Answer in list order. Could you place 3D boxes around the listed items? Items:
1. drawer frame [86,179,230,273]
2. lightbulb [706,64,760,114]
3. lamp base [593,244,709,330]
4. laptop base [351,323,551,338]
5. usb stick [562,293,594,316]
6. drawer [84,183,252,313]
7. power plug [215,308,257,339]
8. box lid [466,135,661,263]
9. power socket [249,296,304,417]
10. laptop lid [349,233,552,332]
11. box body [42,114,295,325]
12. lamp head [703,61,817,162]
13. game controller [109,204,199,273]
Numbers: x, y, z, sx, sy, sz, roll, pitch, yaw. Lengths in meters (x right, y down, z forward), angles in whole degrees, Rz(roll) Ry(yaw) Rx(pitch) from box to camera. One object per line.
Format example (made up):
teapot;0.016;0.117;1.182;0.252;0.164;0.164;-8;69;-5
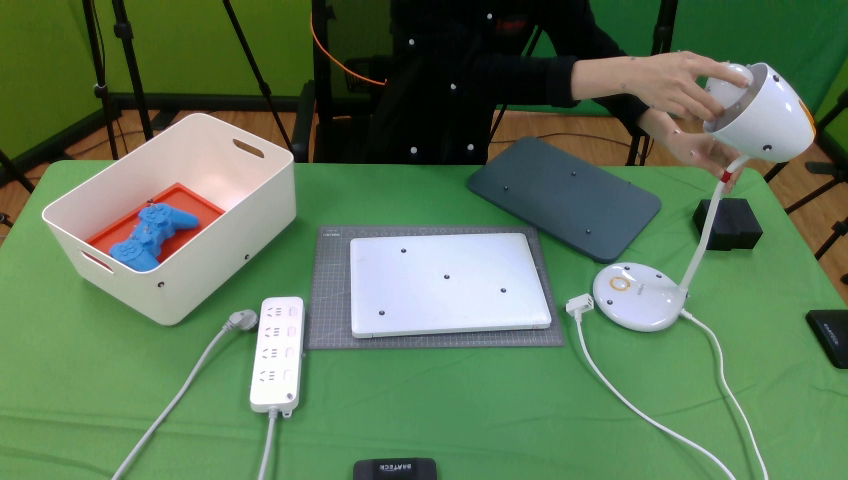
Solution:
drawer frame;-0.453;0.010;1.100;0.201;0.083;0.213;28;54;23
lightbulb;0.427;-0.190;0.810;0.108;0.059;0.059;37;50;-4
lamp base;0.411;0.052;1.070;0.179;0.181;0.160;18;48;9
laptop base;0.040;0.080;1.126;0.355;0.023;0.234;-2;43;-6
usb stick;0.274;0.118;1.087;0.021;0.059;0.027;38;45;-27
drawer;-0.457;0.008;1.099;0.194;0.073;0.211;29;49;21
power plug;-0.317;0.143;1.024;0.072;0.053;0.035;-32;58;-9
box lid;0.306;-0.102;1.327;0.370;0.015;0.263;32;52;25
power socket;-0.239;0.182;0.996;0.072;0.033;0.225;-2;47;-5
laptop lid;0.040;0.070;1.119;0.357;0.013;0.240;-1;44;-5
box body;-0.437;-0.046;1.110;0.253;0.161;0.363;24;49;19
lamp head;0.457;-0.157;0.815;0.123;0.112;0.112;35;47;-11
game controller;-0.467;-0.005;1.044;0.097;0.052;0.154;8;45;10
